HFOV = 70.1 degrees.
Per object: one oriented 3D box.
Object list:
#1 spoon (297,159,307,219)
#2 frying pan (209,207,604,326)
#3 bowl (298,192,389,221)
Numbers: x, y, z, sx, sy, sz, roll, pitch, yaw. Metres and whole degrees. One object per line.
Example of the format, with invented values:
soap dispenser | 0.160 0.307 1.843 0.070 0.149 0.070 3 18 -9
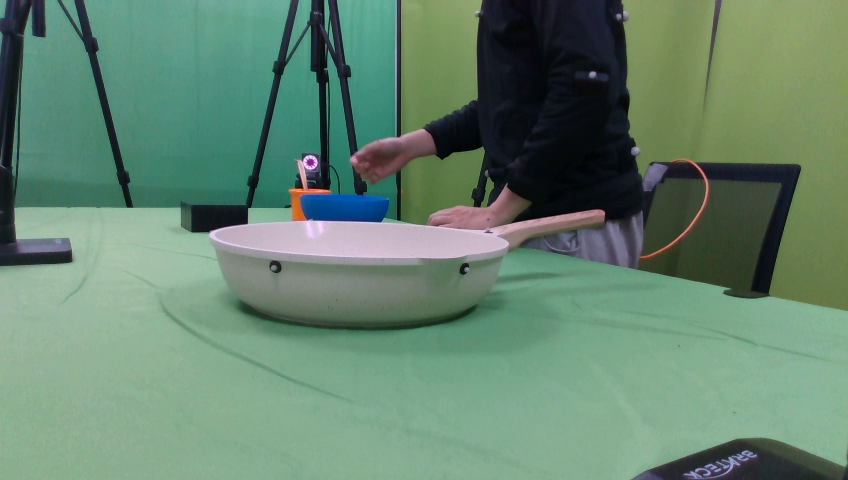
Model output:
spoon | -0.264 -0.114 1.338 0.042 0.193 0.021 0 -37 -21
frying pan | 0.026 0.005 0.665 0.490 0.102 0.305 -12 14 -30
bowl | -0.136 -0.037 1.018 0.151 0.077 0.151 3 7 0
